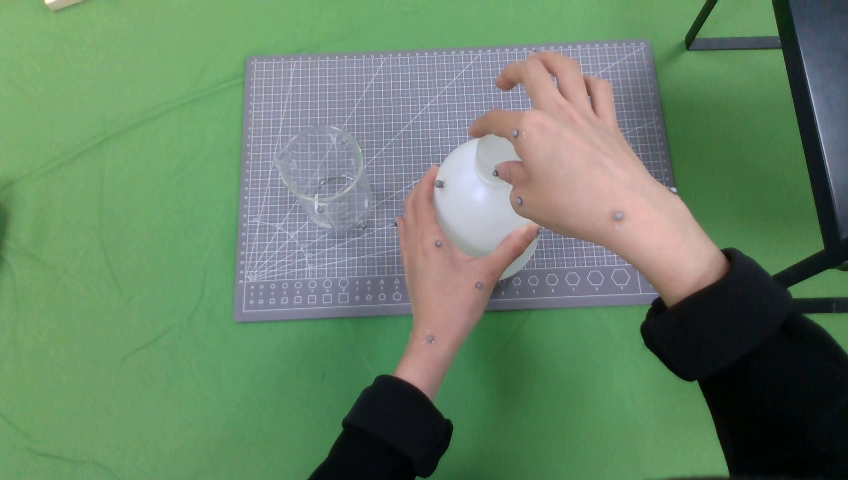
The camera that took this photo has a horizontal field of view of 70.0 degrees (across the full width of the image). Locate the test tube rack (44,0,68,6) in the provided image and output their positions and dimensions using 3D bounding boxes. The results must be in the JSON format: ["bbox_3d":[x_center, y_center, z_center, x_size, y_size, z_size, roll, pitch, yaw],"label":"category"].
[{"bbox_3d":[-0.338,-0.358,0.683,0.242,0.085,0.066,-23,74,-6],"label":"test tube rack"}]

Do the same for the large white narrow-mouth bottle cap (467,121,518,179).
[{"bbox_3d":[0.049,-0.063,0.430,0.038,0.024,0.037,-1,74,3],"label":"large white narrow-mouth bottle cap"}]

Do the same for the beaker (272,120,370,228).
[{"bbox_3d":[-0.093,-0.058,0.580,0.084,0.101,0.073,7,73,4],"label":"beaker"}]

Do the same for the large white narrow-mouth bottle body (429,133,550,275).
[{"bbox_3d":[0.056,-0.036,0.523,0.102,0.196,0.101,-1,74,3],"label":"large white narrow-mouth bottle body"}]
